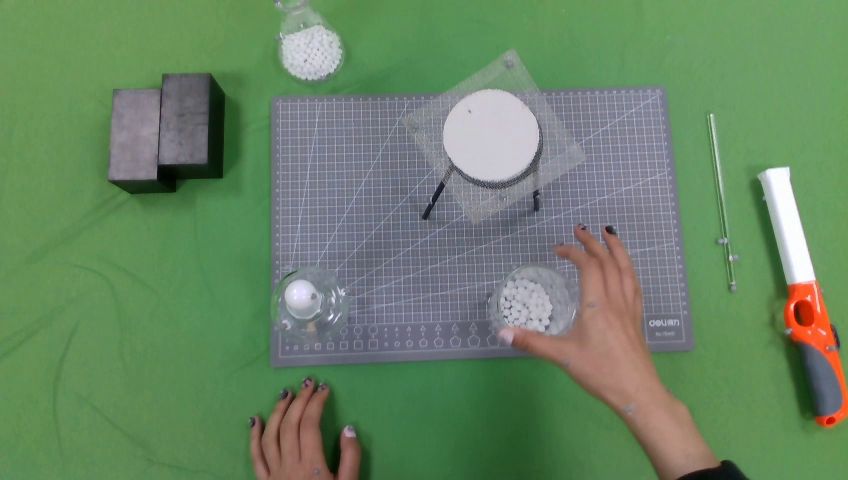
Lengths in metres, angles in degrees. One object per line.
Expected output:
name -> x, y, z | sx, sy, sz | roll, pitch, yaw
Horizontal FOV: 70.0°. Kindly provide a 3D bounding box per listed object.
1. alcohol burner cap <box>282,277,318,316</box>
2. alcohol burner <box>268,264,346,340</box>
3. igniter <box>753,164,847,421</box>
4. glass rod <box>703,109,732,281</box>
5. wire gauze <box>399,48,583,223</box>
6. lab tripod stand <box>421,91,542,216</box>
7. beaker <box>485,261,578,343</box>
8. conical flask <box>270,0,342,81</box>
alcohol burner cap -> -0.115, 0.050, 0.556 | 0.034, 0.048, 0.033 | 2, 71, -7
alcohol burner -> -0.116, 0.058, 0.591 | 0.078, 0.119, 0.077 | 1, 78, -3
igniter -> 0.405, 0.053, 0.654 | 0.057, 0.025, 0.275 | -7, 80, -13
glass rod -> 0.329, -0.053, 0.679 | 0.008, 0.008, 0.199 | -3, 80, -2
wire gauze -> 0.060, -0.094, 0.544 | 0.125, 0.011, 0.121 | -31, 84, -6
lab tripod stand -> 0.059, -0.078, 0.610 | 0.148, 0.132, 0.148 | 0, 82, -1
beaker -> 0.103, 0.063, 0.604 | 0.084, 0.100, 0.073 | -20, 81, -5
conical flask -> -0.130, -0.226, 0.638 | 0.075, 0.122, 0.075 | 0, 79, -1
